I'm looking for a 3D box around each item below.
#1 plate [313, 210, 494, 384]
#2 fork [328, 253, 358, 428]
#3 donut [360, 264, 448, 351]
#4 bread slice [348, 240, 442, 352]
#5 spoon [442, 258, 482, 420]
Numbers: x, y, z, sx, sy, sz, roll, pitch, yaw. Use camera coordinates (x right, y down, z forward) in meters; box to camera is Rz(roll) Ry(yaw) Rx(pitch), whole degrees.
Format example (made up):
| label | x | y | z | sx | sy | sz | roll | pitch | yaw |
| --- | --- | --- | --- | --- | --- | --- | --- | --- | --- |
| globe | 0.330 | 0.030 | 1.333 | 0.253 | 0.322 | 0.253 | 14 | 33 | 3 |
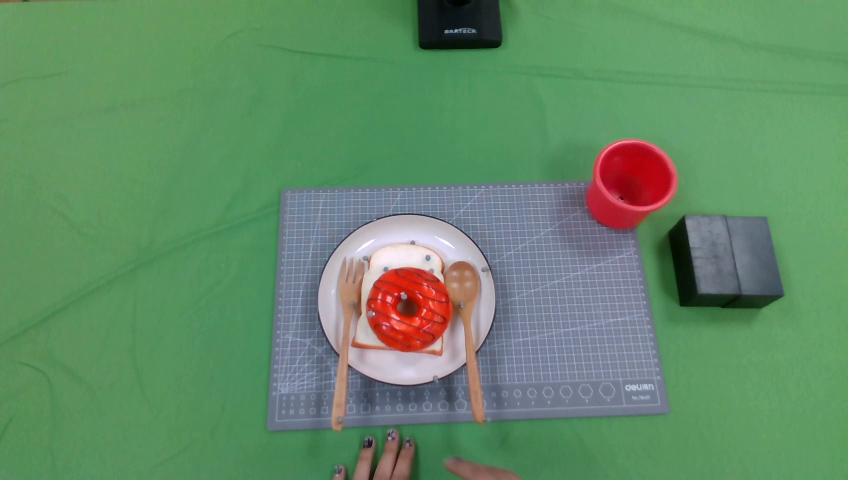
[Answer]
| label | x | y | z | sx | sy | sz | roll | pitch | yaw |
| --- | --- | --- | --- | --- | --- | --- | --- | --- | --- |
| plate | -0.024 | 0.066 | 0.708 | 0.209 | 0.038 | 0.207 | 1 | 68 | -2 |
| fork | -0.092 | 0.105 | 0.678 | 0.028 | 0.019 | 0.205 | 9 | 55 | -13 |
| donut | -0.022 | 0.074 | 0.676 | 0.099 | 0.048 | 0.098 | 1 | 72 | -4 |
| bread slice | -0.030 | 0.062 | 0.713 | 0.105 | 0.019 | 0.130 | 5 | 70 | -1 |
| spoon | 0.046 | 0.105 | 0.680 | 0.041 | 0.022 | 0.192 | -5 | 56 | 1 |
